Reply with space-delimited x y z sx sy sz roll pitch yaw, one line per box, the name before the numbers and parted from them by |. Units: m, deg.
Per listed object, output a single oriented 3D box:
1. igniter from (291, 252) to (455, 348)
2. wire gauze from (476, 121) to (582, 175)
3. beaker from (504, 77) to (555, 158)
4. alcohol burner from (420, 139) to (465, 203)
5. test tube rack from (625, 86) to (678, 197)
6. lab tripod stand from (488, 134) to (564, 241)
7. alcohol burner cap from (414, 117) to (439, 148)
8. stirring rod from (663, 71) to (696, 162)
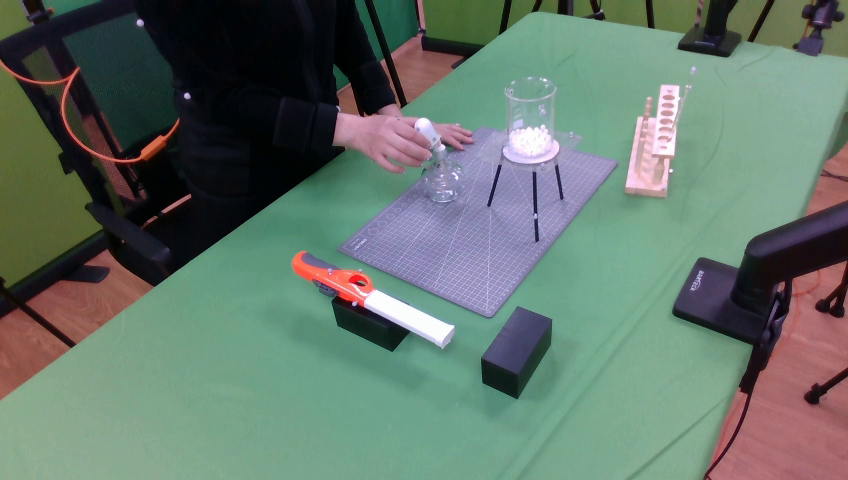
igniter | -0.080 0.076 0.822 0.274 0.025 0.057 23 45 27
wire gauze | 0.162 -0.142 0.929 0.120 0.011 0.125 19 49 32
beaker | 0.160 -0.181 0.900 0.084 0.101 0.073 -33 46 -27
alcohol burner | 0.030 -0.124 1.044 0.078 0.119 0.077 -5 42 5
test tube rack | 0.412 -0.184 1.088 0.066 0.085 0.242 9 43 18
lab tripod stand | 0.168 -0.092 0.972 0.148 0.132 0.147 -5 41 5
alcohol burner cap | 0.002 -0.173 0.955 0.034 0.048 0.033 -11 54 16
stirring rod | 0.410 -0.195 0.981 0.014 0.177 0.006 11 50 14
